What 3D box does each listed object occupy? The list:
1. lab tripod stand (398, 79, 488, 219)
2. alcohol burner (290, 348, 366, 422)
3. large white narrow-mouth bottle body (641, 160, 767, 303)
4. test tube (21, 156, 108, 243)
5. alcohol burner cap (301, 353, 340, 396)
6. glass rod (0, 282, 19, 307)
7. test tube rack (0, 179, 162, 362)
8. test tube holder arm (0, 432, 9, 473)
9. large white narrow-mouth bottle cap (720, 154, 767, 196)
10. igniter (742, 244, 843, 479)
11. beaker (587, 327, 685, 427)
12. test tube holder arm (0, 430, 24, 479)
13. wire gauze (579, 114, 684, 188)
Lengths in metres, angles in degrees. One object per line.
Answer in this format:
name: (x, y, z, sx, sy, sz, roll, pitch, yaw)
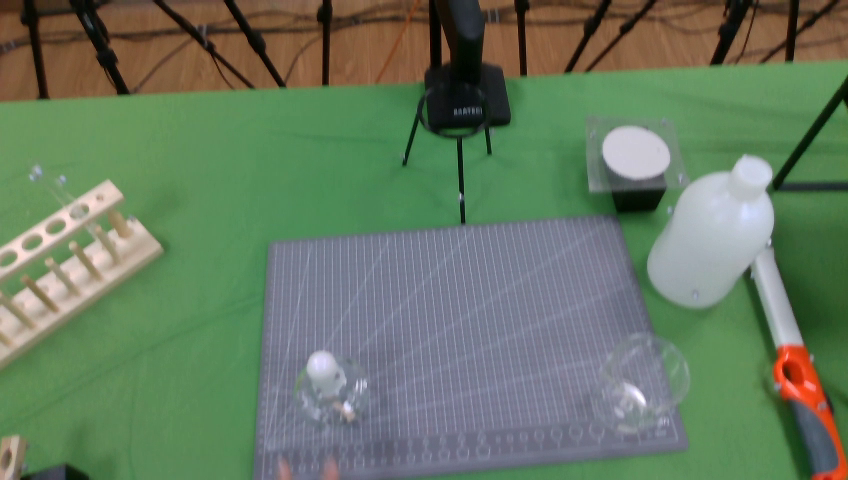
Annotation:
lab tripod stand: (0.034, -0.121, 0.770, 0.148, 0.132, 0.147, 1, 58, -1)
alcohol burner: (-0.099, 0.140, 0.611, 0.078, 0.120, 0.077, 1, 56, -1)
large white narrow-mouth bottle body: (0.313, -0.016, 0.666, 0.102, 0.196, 0.101, 0, 57, 1)
test tube: (-0.403, -0.041, 0.688, 0.017, 0.151, 0.017, -3, 57, 4)
alcohol burner cap: (-0.102, 0.128, 0.582, 0.034, 0.048, 0.033, -3, 57, 5)
glass rod: (-0.472, 0.014, 0.634, 0.008, 0.201, 0.008, 2, 48, -2)
test tube rack: (-0.438, 0.041, 0.695, 0.066, 0.086, 0.242, 40, 65, 22)
test tube holder arm: (-0.391, 0.223, 0.560, 0.010, 0.015, 0.087, -12, 62, 1)
large white narrow-mouth bottle cap: (0.312, -0.064, 0.594, 0.038, 0.024, 0.037, 0, 57, 0)
igniter: (0.404, 0.123, 0.677, 0.057, 0.025, 0.274, 5, 57, -8)
beaker: (0.208, 0.144, 0.617, 0.084, 0.101, 0.073, 0, 57, 2)
test tube holder arm: (-0.378, 0.260, 0.539, 0.013, 0.015, 0.176, -12, 62, 1)
wire gauze: (0.264, -0.116, 0.782, 0.121, 0.011, 0.124, 2, 57, 2)
